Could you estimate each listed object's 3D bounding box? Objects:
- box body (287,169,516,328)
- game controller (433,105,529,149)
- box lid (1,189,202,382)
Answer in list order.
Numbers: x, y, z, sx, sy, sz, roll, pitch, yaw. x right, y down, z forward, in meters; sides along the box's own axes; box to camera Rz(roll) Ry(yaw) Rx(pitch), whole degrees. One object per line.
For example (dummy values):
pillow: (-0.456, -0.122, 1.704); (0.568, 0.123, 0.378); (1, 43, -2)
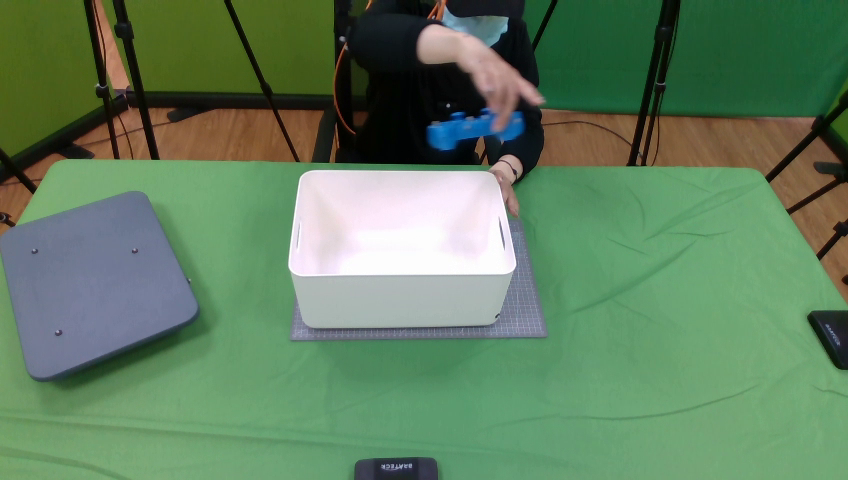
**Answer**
box body: (-0.040, 0.015, 1.075); (0.364, 0.161, 0.252); (-1, 47, -4)
game controller: (0.088, -0.178, 0.946); (0.155, 0.052, 0.097); (-9, 18, 6)
box lid: (-0.565, 0.058, 1.050); (0.263, 0.015, 0.369); (-23, 52, -23)
